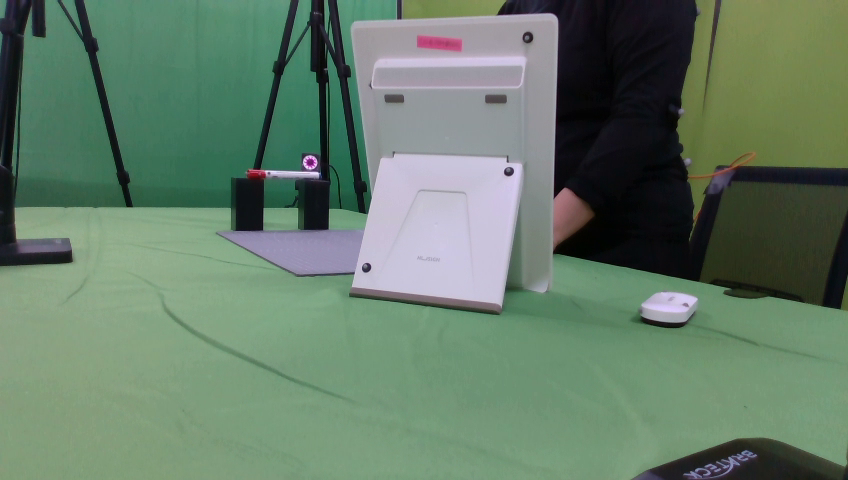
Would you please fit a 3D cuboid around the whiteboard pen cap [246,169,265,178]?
[{"bbox_3d":[-0.318,-0.125,1.143,0.032,0.017,0.017,-1,8,-35],"label":"whiteboard pen cap"}]

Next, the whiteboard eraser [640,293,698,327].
[{"bbox_3d":[0.240,0.066,0.591,0.041,0.019,0.102,5,7,32],"label":"whiteboard eraser"}]

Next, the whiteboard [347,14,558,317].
[{"bbox_3d":[0.012,-0.056,0.609,0.216,0.305,0.144,5,27,20],"label":"whiteboard"}]

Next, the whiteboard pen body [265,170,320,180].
[{"bbox_3d":[-0.268,-0.127,1.179,0.141,0.017,0.017,-2,8,-36],"label":"whiteboard pen body"}]
